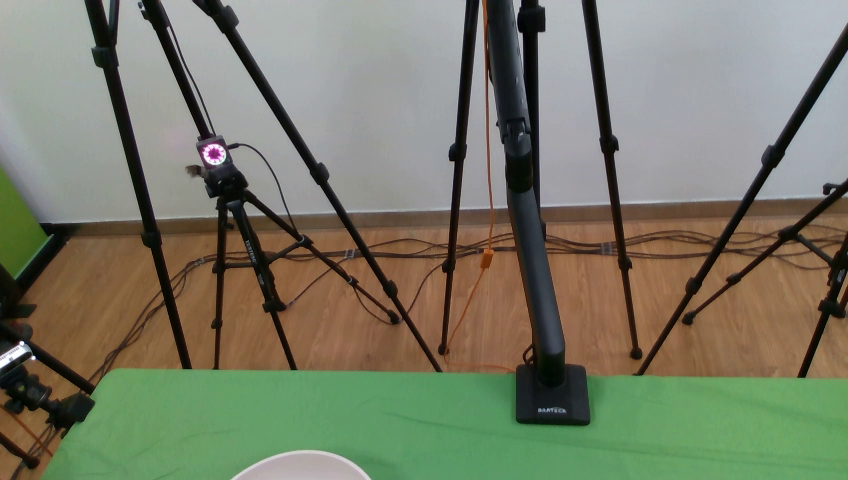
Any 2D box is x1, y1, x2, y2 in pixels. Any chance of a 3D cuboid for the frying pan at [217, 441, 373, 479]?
[{"bbox_3d":[-0.209,0.488,0.771,0.306,0.103,0.484,-2,33,10],"label":"frying pan"}]
